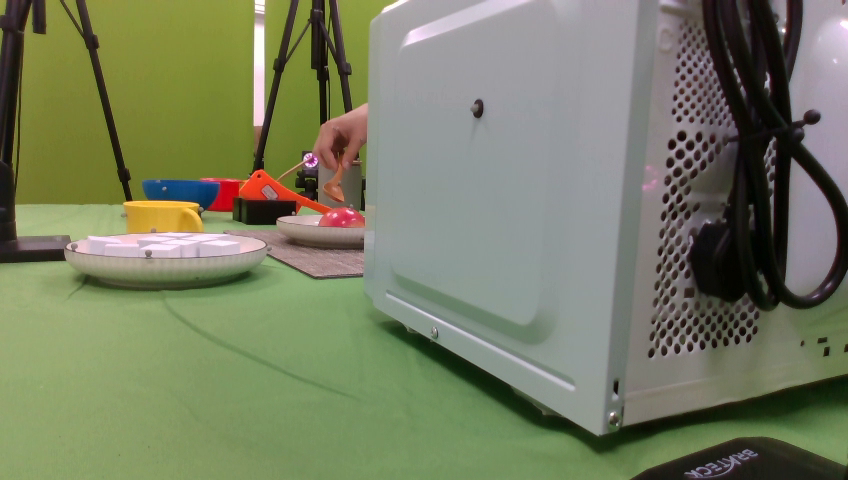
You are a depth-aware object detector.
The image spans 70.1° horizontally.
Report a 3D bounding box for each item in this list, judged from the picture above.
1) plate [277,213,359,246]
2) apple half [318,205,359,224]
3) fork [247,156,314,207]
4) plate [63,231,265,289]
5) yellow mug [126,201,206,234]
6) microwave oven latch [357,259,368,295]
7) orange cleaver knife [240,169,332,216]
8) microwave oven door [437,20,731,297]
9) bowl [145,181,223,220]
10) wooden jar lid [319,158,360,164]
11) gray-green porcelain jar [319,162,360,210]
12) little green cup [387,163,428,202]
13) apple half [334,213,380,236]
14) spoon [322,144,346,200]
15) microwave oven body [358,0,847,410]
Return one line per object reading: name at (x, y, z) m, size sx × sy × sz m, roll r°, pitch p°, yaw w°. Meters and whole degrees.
plate at (-0.135, -0.018, 0.993) m, size 0.209 × 0.038 × 0.209 m, roll 2°, pitch 7°, yaw 0°
apple half at (-0.126, -0.029, 0.954) m, size 0.081 × 0.053 × 0.074 m, roll -2°, pitch 11°, yaw -33°
fork at (-0.360, -0.147, 1.523) m, size 0.207 × 0.018 × 0.028 m, roll -43°, pitch 15°, yaw -7°
plate at (-0.288, 0.021, 0.687) m, size 0.208 × 0.039 × 0.207 m, roll 2°, pitch 8°, yaw 0°
yellow mug at (-0.360, -0.019, 0.866) m, size 0.130 × 0.064 × 0.100 m, roll 6°, pitch 9°, yaw 27°
microwave oven latch at (-0.019, 0.031, 0.529) m, size 0.079 × 0.029 × 0.030 m, roll -1°, pitch 7°, yaw -26°
orange cleaver knife at (-0.286, -0.082, 1.298) m, size 0.212 × 0.077 × 0.012 m, roll 25°, pitch -2°, yaw -31°
microwave oven door at (0.181, -0.076, 0.618) m, size 0.358 × 0.243 × 0.039 m, roll -2°, pitch 9°, yaw -28°
bowl at (-0.499, -0.081, 1.261) m, size 0.151 × 0.077 × 0.151 m, roll 2°, pitch 7°, yaw 0°
wooden jar lid at (-0.203, -0.189, 1.482) m, size 0.108 × 0.020 × 0.108 m, roll 2°, pitch 10°, yaw 0°
gray-green porcelain jar at (-0.204, -0.126, 1.489) m, size 0.106 × 0.126 × 0.106 m, roll 2°, pitch 7°, yaw 0°
little green cup at (-0.025, -0.092, 0.983) m, size 0.061 × 0.038 × 0.061 m, roll -38°, pitch -2°, yaw -1°
apple half at (-0.112, -0.028, 1.035) m, size 0.081 × 0.033 × 0.081 m, roll 0°, pitch 10°, yaw 0°
spoon at (-0.145, -0.120, 1.031) m, size 0.042 × 0.021 × 0.193 m, roll 26°, pitch 33°, yaw -17°
microwave oven body at (0.210, -0.051, 0.471) m, size 0.444 × 0.260 × 0.324 m, roll -1°, pitch 7°, yaw -28°
